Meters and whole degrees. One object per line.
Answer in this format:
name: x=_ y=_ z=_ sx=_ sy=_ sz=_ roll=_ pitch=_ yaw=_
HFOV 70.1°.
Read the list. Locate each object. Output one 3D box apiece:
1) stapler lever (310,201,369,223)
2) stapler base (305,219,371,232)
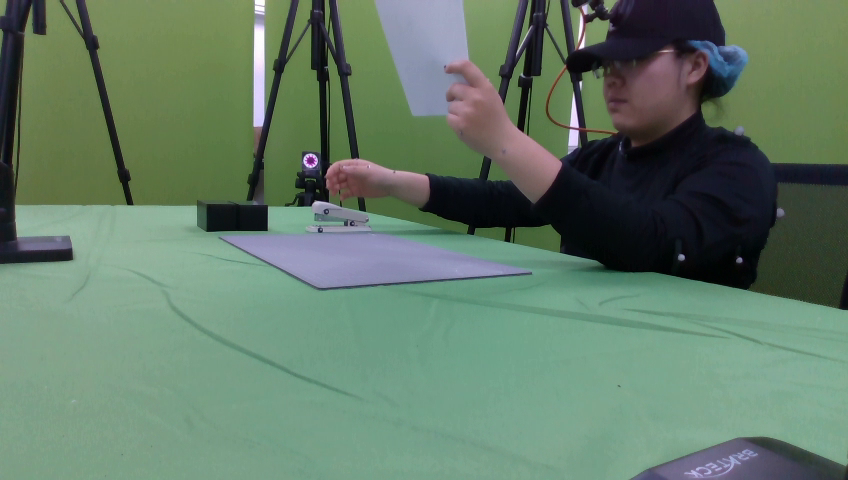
stapler lever: x=-0.165 y=-0.054 z=1.184 sx=0.119 sy=0.040 sz=0.026 roll=1 pitch=9 yaw=-33
stapler base: x=-0.168 y=-0.029 z=1.186 sx=0.131 sy=0.024 sz=0.041 roll=0 pitch=9 yaw=-33
